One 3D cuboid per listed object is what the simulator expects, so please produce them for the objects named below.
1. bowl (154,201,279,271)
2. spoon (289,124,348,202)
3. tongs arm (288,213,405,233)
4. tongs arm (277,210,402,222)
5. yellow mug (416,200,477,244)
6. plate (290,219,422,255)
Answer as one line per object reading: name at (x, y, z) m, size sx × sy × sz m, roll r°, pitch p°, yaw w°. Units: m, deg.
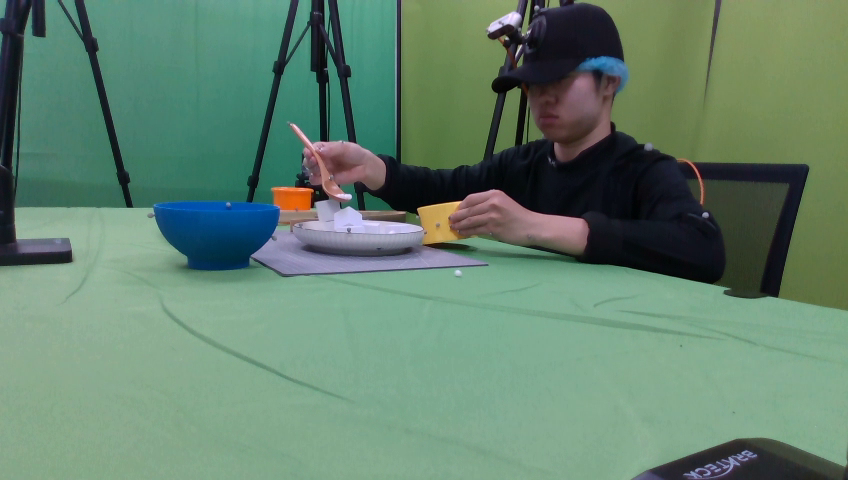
bowl at (-0.263, -0.005, 0.773) m, size 0.151 × 0.077 × 0.151 m, roll 3°, pitch 8°, yaw 0°
spoon at (-0.175, -0.128, 0.984) m, size 0.042 × 0.021 × 0.193 m, roll 5°, pitch 45°, yaw -50°
tongs arm at (-0.146, -0.039, 1.280) m, size 0.028 × 0.028 × 0.389 m, roll 4°, pitch 6°, yaw 33°
tongs arm at (-0.207, -0.051, 1.333) m, size 0.387 × 0.026 × 0.050 m, roll -2°, pitch 9°, yaw -44°
yellow mug at (0.047, -0.032, 1.042) m, size 0.100 × 0.064 × 0.130 m, roll -8°, pitch 1°, yaw -31°
plate at (-0.108, -0.005, 0.963) m, size 0.208 × 0.039 × 0.207 m, roll 3°, pitch 7°, yaw 0°
